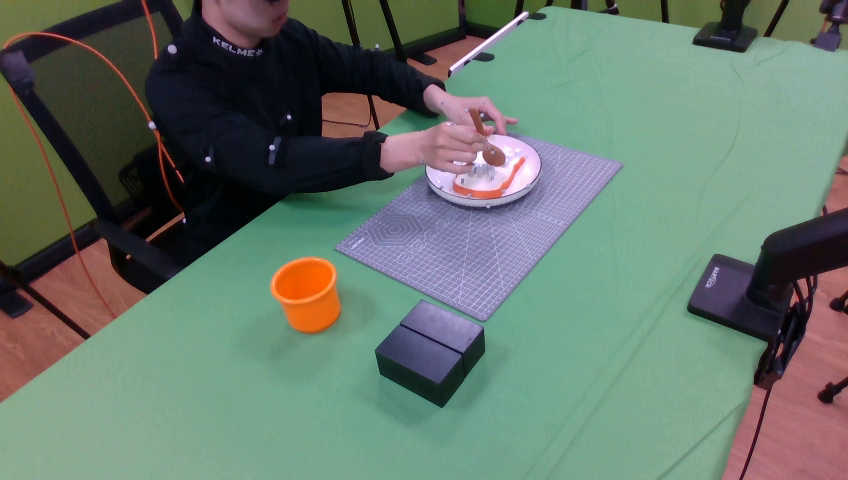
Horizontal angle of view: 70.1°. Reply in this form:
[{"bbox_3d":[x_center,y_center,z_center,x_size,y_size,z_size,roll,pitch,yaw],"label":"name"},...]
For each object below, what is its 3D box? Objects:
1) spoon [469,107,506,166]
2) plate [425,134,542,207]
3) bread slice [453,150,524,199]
[{"bbox_3d":[0.100,-0.163,0.977,0.041,0.195,0.021,5,78,19],"label":"spoon"},{"bbox_3d":[0.105,-0.121,1.079,0.209,0.038,0.208,-4,41,4],"label":"plate"},{"bbox_3d":[0.112,-0.118,1.079,0.104,0.019,0.131,12,42,21],"label":"bread slice"}]
